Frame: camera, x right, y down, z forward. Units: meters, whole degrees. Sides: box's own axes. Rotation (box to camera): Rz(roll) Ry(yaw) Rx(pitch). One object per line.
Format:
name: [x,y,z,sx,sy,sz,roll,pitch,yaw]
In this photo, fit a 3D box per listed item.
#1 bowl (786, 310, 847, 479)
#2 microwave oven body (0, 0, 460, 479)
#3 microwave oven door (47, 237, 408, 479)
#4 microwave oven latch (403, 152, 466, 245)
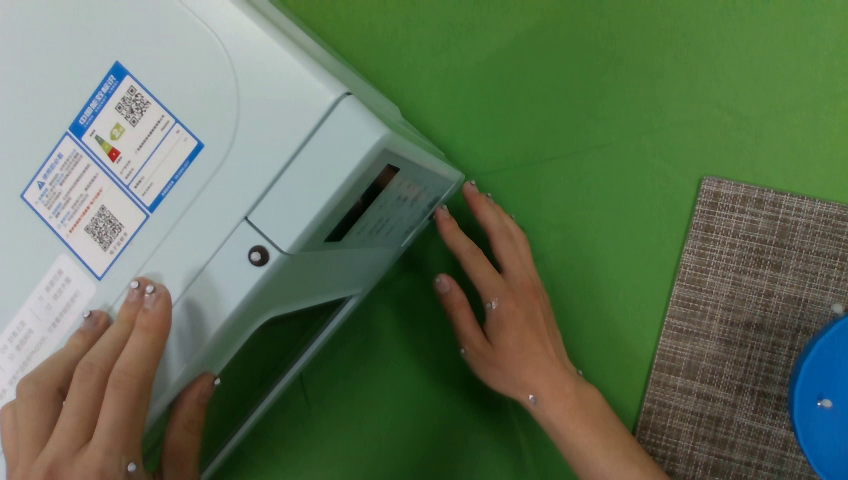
bowl: [0.327,0.110,0.424,0.151,0.077,0.151,0,91,13]
microwave oven body: [-0.244,0.002,0.457,0.325,0.261,0.442,42,100,8]
microwave oven door: [-0.165,0.130,0.437,0.039,0.244,0.356,42,99,10]
microwave oven latch: [0.001,-0.033,0.500,0.030,0.029,0.079,44,100,8]
